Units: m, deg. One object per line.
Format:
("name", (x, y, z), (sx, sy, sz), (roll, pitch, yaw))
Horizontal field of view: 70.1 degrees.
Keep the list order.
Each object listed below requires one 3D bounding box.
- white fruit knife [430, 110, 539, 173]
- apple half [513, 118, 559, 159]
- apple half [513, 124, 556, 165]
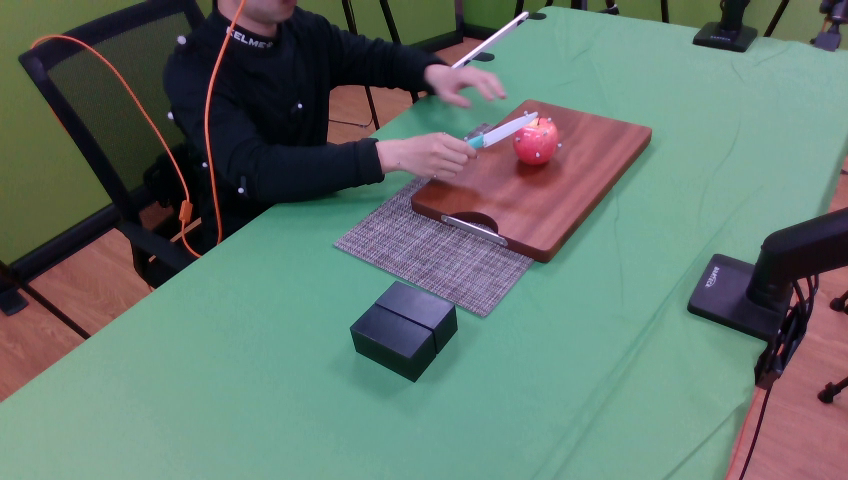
("white fruit knife", (0.096, -0.165, 1.003), (0.207, 0.027, 0.016), (-25, 34, 21))
("apple half", (0.203, -0.180, 1.067), (0.080, 0.075, 0.053), (12, 40, 26))
("apple half", (0.185, -0.158, 1.041), (0.081, 0.081, 0.033), (15, 41, 24))
